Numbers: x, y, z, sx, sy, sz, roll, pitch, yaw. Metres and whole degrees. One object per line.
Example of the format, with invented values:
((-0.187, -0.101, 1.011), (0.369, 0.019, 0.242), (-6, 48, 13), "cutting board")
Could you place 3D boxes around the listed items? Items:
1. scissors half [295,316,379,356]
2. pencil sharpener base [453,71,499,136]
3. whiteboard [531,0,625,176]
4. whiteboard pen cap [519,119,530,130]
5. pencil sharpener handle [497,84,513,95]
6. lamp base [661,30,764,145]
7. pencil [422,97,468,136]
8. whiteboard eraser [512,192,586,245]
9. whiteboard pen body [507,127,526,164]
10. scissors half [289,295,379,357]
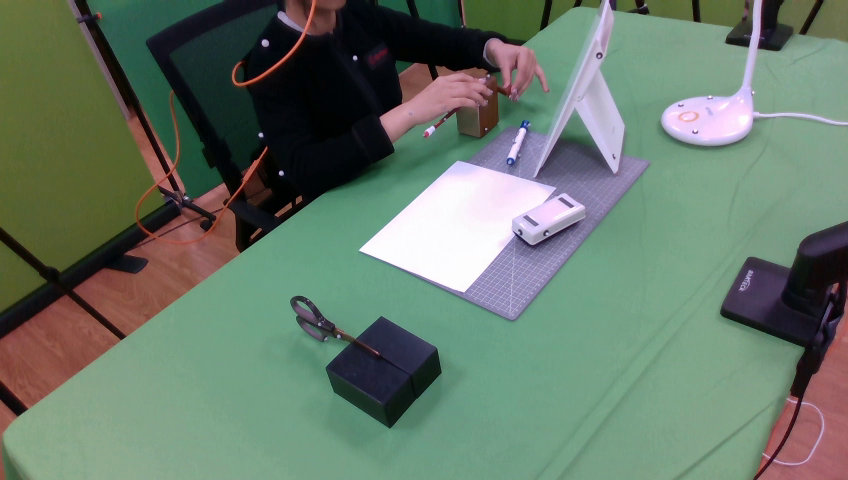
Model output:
((-0.119, 0.132, 0.813), (0.173, 0.040, 0.013), (9, 34, 45), "scissors half")
((0.108, -0.276, 1.219), (0.061, 0.107, 0.077), (20, 48, 31), "pencil sharpener base")
((0.320, -0.258, 1.050), (0.144, 0.306, 0.217), (22, 45, 5), "whiteboard")
((0.199, -0.226, 1.204), (0.018, 0.018, 0.033), (7, 41, 18), "whiteboard pen cap")
((0.146, -0.318, 1.227), (0.067, 0.036, 0.031), (35, 54, 13), "pencil sharpener handle")
((0.535, -0.287, 1.096), (0.179, 0.181, 0.159), (-10, 40, -4), "lamp base")
((0.055, -0.249, 1.156), (0.012, 0.012, 0.194), (21, 49, 30), "pencil")
((0.199, -0.032, 0.962), (0.113, 0.042, 0.055), (-27, 42, -20), "whiteboard eraser")
((0.181, -0.189, 1.162), (0.017, 0.017, 0.140), (8, 42, 19), "whiteboard pen body")
((-0.122, 0.114, 0.803), (0.174, 0.040, 0.013), (26, 50, 32), "scissors half")
